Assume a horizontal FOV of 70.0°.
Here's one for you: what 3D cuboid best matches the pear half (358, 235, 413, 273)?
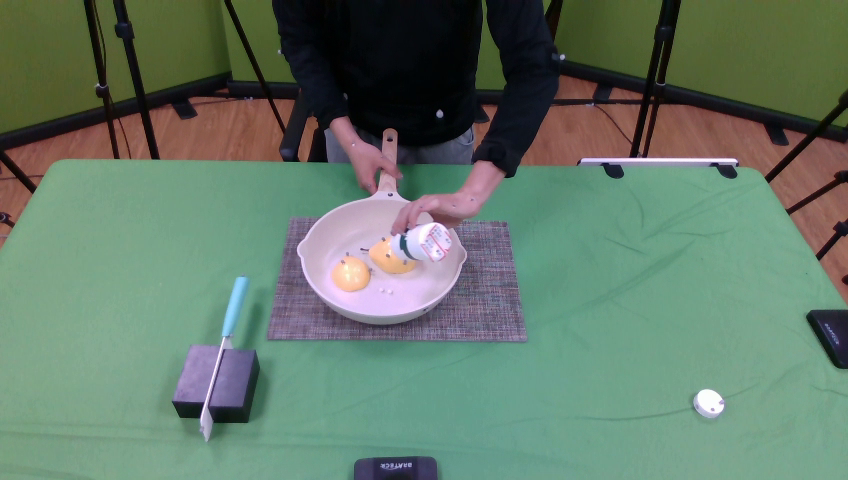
[{"bbox_3d":[-0.074,0.017,1.146,0.110,0.056,0.076,10,40,7],"label":"pear half"}]

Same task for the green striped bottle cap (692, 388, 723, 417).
[{"bbox_3d":[0.460,0.263,0.984,0.044,0.020,0.044,3,47,-3],"label":"green striped bottle cap"}]

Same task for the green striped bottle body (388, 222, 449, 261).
[{"bbox_3d":[-0.016,0.003,1.029,0.063,0.063,0.119,-33,16,-30],"label":"green striped bottle body"}]

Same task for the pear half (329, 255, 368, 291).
[{"bbox_3d":[-0.139,0.053,1.121,0.070,0.031,0.087,-7,50,-17],"label":"pear half"}]

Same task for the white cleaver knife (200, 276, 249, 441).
[{"bbox_3d":[-0.321,0.177,0.972,0.021,0.066,0.284,7,48,-5],"label":"white cleaver knife"}]

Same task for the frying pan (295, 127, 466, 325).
[{"bbox_3d":[-0.076,-0.045,1.172,0.307,0.103,0.485,3,55,-2],"label":"frying pan"}]
